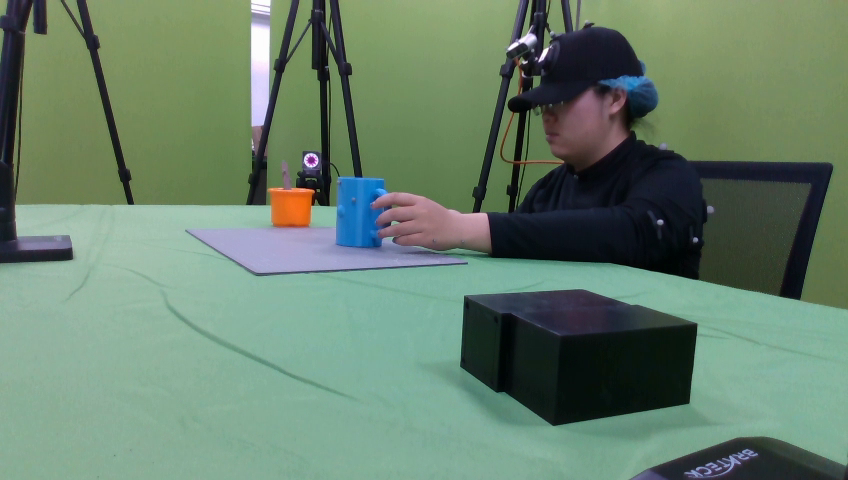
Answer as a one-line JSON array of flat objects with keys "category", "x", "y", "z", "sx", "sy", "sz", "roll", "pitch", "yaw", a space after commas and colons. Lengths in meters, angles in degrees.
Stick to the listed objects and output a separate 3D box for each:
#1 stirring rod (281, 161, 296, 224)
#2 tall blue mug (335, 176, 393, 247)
[{"category": "stirring rod", "x": -0.278, "y": -0.099, "z": 1.239, "sx": 0.014, "sy": 0.006, "sz": 0.175, "roll": 2, "pitch": 49, "yaw": -25}, {"category": "tall blue mug", "x": -0.089, "y": -0.046, "z": 0.971, "sx": 0.107, "sy": 0.108, "sz": 0.078, "roll": 5, "pitch": 7, "yaw": 19}]
